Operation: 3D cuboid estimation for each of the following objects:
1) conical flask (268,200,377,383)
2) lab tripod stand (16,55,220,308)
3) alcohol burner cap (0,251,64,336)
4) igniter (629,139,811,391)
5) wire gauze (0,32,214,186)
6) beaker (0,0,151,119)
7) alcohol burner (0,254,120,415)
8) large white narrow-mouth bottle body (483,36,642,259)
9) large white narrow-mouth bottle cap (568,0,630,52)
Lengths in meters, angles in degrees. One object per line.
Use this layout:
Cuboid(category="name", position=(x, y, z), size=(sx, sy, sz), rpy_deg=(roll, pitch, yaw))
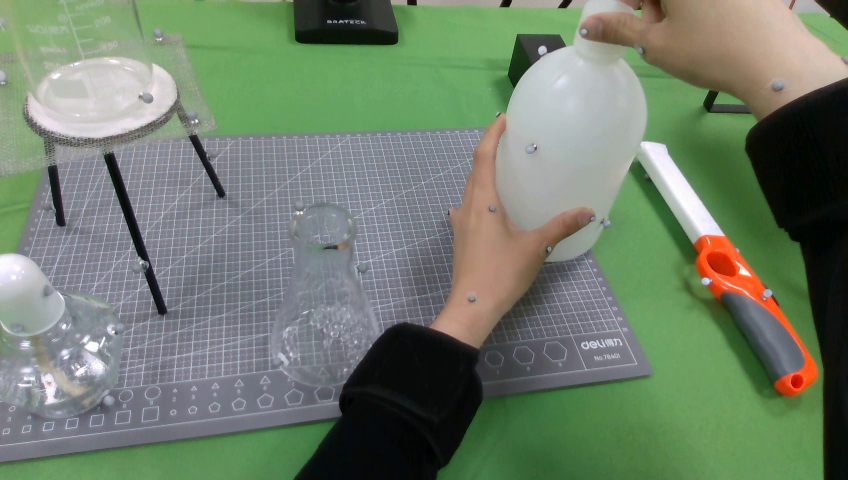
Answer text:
Cuboid(category="conical flask", position=(-0.065, 0.031, 0.383), size=(0.075, 0.123, 0.074), rpy_deg=(4, 47, -4))
Cuboid(category="lab tripod stand", position=(-0.207, -0.045, 0.423), size=(0.148, 0.132, 0.147), rpy_deg=(6, 47, -6))
Cuboid(category="alcohol burner cap", position=(-0.216, 0.026, 0.320), size=(0.034, 0.048, 0.033), rpy_deg=(4, 53, -5))
Cuboid(category="igniter", position=(0.245, 0.006, 0.521), size=(0.057, 0.025, 0.273), rpy_deg=(4, 46, -19))
Cuboid(category="wire gauze", position=(-0.204, -0.091, 0.376), size=(0.122, 0.011, 0.124), rpy_deg=(-17, 56, -20))
Cuboid(category="beaker", position=(-0.203, -0.126, 0.341), size=(0.084, 0.101, 0.073), rpy_deg=(-9, 51, -16))
Cuboid(category="alcohol burner", position=(-0.220, 0.050, 0.347), size=(0.078, 0.120, 0.077), rpy_deg=(6, 46, -5))
Cuboid(category="large white narrow-mouth bottle body", position=(0.107, -0.081, 0.462), size=(0.102, 0.196, 0.101), rpy_deg=(4, 47, -4))
Cuboid(category="large white narrow-mouth bottle cap", position=(0.114, -0.142, 0.397), size=(0.038, 0.024, 0.037), rpy_deg=(4, 47, -4))
